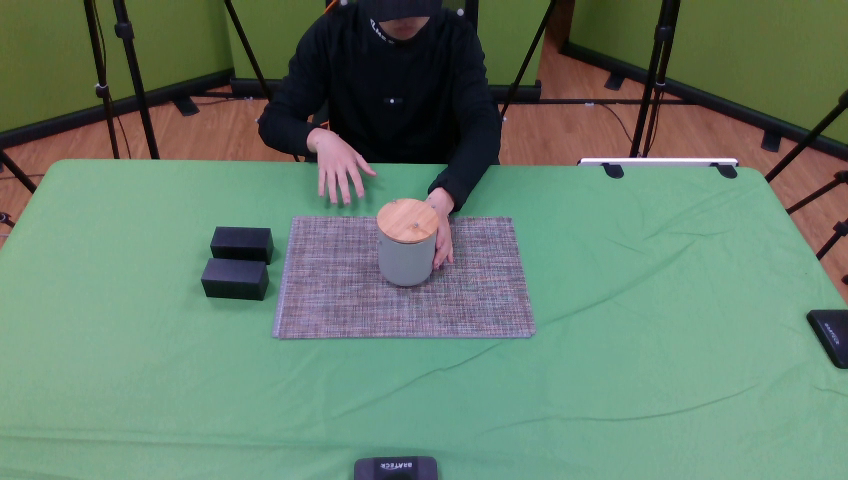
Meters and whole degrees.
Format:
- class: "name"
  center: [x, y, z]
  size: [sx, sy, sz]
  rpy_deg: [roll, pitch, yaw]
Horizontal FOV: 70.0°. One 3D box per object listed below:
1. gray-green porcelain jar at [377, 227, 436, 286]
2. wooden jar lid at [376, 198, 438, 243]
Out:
- class: "gray-green porcelain jar"
  center: [-0.033, 0.014, 1.106]
  size: [0.106, 0.127, 0.105]
  rpy_deg: [2, 46, -2]
- class: "wooden jar lid"
  center: [-0.029, -0.031, 1.059]
  size: [0.108, 0.021, 0.107]
  rpy_deg: [2, 45, -2]
